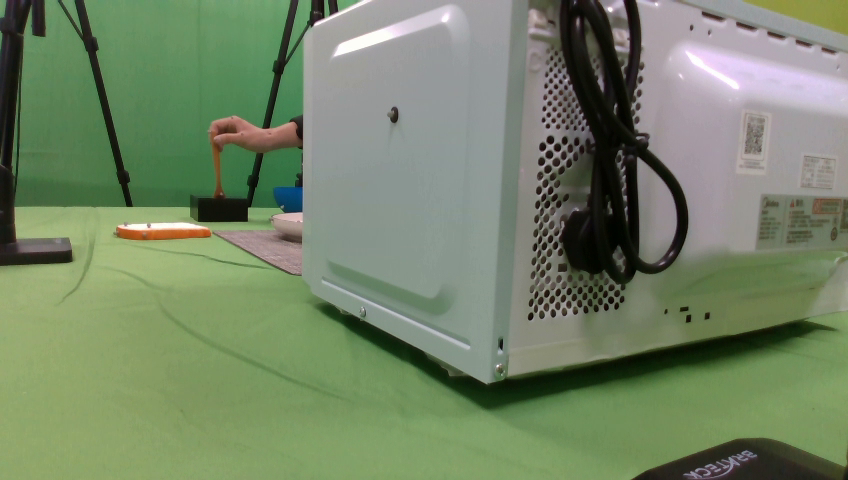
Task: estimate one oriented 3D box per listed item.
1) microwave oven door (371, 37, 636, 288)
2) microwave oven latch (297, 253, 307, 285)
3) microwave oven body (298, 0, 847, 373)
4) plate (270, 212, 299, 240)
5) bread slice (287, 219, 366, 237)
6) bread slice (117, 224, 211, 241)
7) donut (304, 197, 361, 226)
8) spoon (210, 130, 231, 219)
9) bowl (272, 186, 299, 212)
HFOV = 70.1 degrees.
[{"bbox_3d":[0.109,-0.080,0.686,0.358,0.243,0.039,-2,9,-33],"label":"microwave oven door"},{"bbox_3d":[-0.081,0.027,0.582,0.079,0.029,0.030,-1,7,-32],"label":"microwave oven latch"},{"bbox_3d":[0.151,-0.055,0.542,0.444,0.260,0.324,-2,7,-33],"label":"microwave oven body"},{"bbox_3d":[-0.162,-0.022,1.057,0.208,0.039,0.207,2,7,0],"label":"plate"},{"bbox_3d":[-0.170,-0.022,1.056,0.134,0.018,0.107,2,7,-6],"label":"bread slice"},{"bbox_3d":[-0.443,-0.015,1.022,0.132,0.019,0.104,-3,8,-45],"label":"bread slice"},{"bbox_3d":[-0.159,-0.050,1.055,0.099,0.048,0.099,3,8,0],"label":"donut"},{"bbox_3d":[-0.440,-0.139,1.293,0.042,0.193,0.021,-3,25,-15],"label":"spoon"},{"bbox_3d":[-0.254,-0.075,1.318,0.151,0.077,0.151,2,7,0],"label":"bowl"}]
